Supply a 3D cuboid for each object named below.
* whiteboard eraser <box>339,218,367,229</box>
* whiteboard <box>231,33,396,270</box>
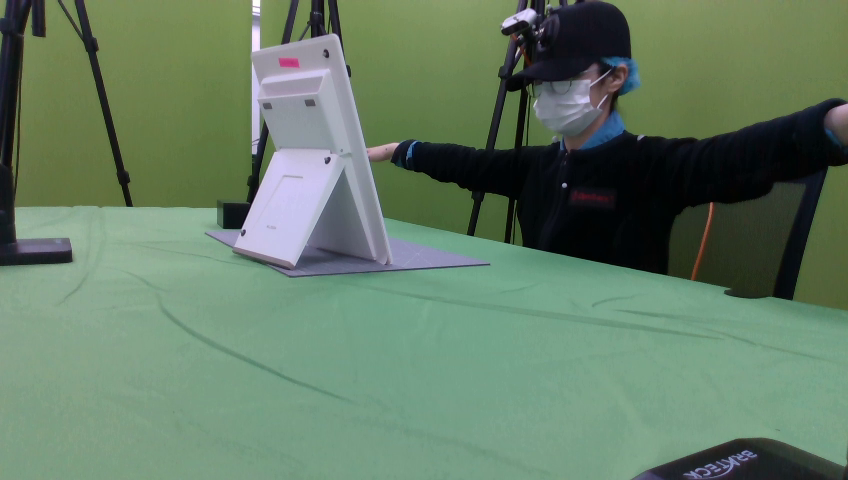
[{"bbox_3d":[-0.146,-0.036,1.246,0.041,0.019,0.101,1,5,9],"label":"whiteboard eraser"},{"bbox_3d":[-0.193,-0.094,0.805,0.144,0.305,0.216,-29,25,-35],"label":"whiteboard"}]
